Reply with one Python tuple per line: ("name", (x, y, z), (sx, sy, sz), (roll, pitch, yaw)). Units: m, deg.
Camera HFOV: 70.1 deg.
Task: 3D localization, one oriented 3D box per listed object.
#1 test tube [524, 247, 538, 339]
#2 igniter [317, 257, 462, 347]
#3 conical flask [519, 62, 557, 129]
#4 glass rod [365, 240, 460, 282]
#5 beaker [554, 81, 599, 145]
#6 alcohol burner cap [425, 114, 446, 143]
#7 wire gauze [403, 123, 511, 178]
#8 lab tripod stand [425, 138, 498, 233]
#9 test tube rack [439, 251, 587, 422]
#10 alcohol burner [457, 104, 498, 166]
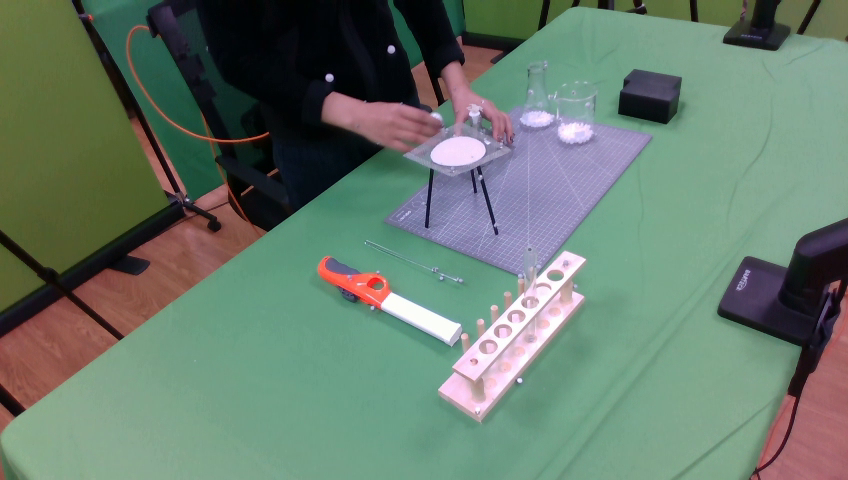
("test tube", (0.133, 0.070, 0.749), (0.017, 0.151, 0.017), (-5, 38, 4))
("igniter", (-0.061, 0.086, 0.891), (0.274, 0.025, 0.057), (23, 59, 33))
("conical flask", (0.225, -0.288, 1.198), (0.075, 0.122, 0.075), (-6, 40, 5))
("glass rod", (-0.022, 0.032, 0.961), (0.198, 0.008, 0.008), (21, 49, 34))
("beaker", (0.286, -0.236, 1.144), (0.084, 0.101, 0.073), (-17, 40, -7))
("alcohol burner cap", (0.018, -0.197, 1.059), (0.034, 0.048, 0.033), (-8, 46, 8))
("wire gauze", (0.051, -0.140, 0.943), (0.125, 0.011, 0.120), (-31, 43, -25))
("lab tripod stand", (0.063, -0.091, 0.988), (0.148, 0.132, 0.147), (-6, 39, 6))
("test tube rack", (0.118, 0.111, 0.780), (0.066, 0.085, 0.243), (26, 51, 35))
("alcohol burner", (0.099, -0.198, 1.124), (0.078, 0.119, 0.077), (-5, 38, 4))
